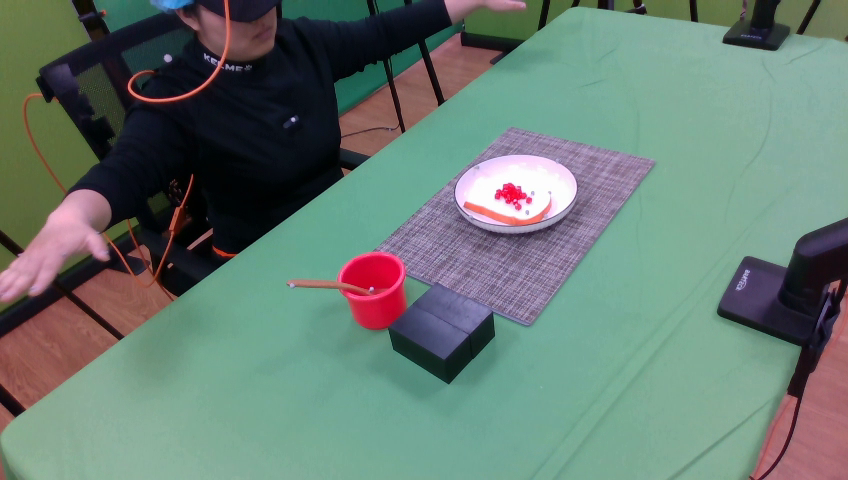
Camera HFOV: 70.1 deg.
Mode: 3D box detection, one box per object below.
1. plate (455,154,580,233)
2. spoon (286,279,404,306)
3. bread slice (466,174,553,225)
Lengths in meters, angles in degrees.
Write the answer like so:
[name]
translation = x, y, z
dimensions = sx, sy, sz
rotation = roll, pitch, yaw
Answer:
[plate]
translation = 0.158, -0.076, 1.028
dimensions = 0.209, 0.038, 0.208
rotation = -5, 40, 5
[spoon]
translation = -0.104, 0.068, 0.832
dimensions = 0.195, 0.021, 0.041
rotation = 17, 21, -43
[bread slice]
translation = 0.152, -0.067, 1.022
dimensions = 0.130, 0.019, 0.105
rotation = 23, 50, 33
